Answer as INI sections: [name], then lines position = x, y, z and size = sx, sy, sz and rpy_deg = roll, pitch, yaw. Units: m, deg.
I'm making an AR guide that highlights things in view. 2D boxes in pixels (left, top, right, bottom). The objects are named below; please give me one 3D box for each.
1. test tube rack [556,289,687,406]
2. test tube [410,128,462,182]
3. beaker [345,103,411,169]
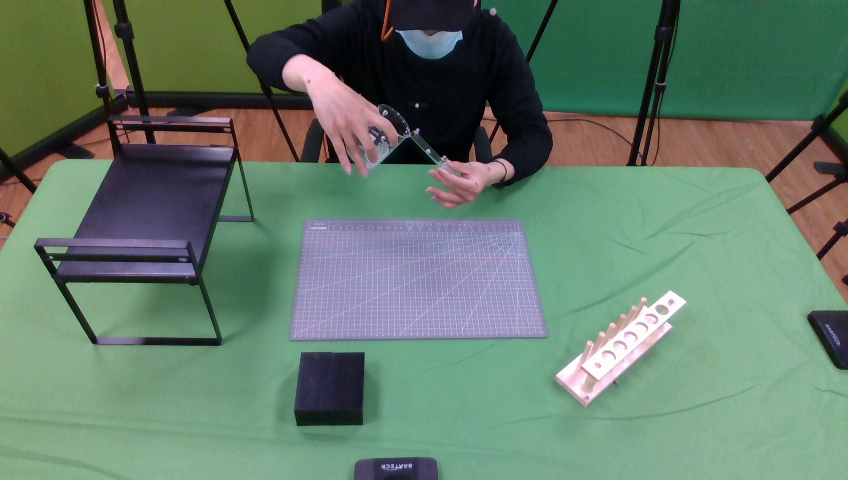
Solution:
[test tube rack]
position = 0.332, 0.166, 1.014
size = 0.242, 0.085, 0.066
rpy_deg = -30, 55, -28
[test tube]
position = 0.025, -0.155, 1.123
size = 0.017, 0.151, 0.017
rpy_deg = -26, 43, 28
[beaker]
position = -0.083, -0.180, 1.070
size = 0.084, 0.100, 0.073
rpy_deg = 27, 37, -35
